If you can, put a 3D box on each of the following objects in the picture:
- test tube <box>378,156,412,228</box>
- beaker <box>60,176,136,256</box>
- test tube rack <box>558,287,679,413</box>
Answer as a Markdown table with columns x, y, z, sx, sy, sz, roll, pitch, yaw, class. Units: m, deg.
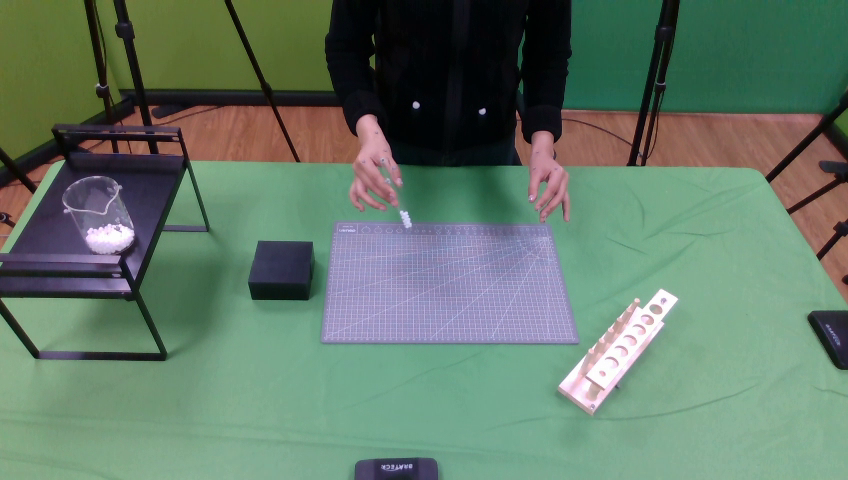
| x | y | z | sx | sy | sz | roll | pitch | yaw | class |
| --- | --- | --- | --- | --- | --- | --- | --- | --- | --- |
| -0.048 | -0.079 | 1.045 | 0.017 | 0.151 | 0.017 | -13 | 38 | 10 | test tube |
| -0.470 | -0.031 | 0.887 | 0.074 | 0.101 | 0.083 | -31 | 56 | -28 | beaker |
| 0.326 | 0.170 | 1.009 | 0.066 | 0.085 | 0.242 | 35 | 54 | 26 | test tube rack |
